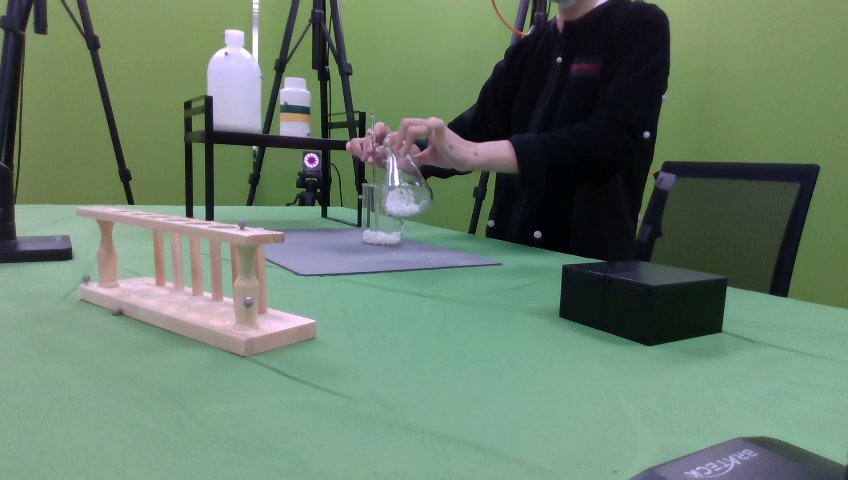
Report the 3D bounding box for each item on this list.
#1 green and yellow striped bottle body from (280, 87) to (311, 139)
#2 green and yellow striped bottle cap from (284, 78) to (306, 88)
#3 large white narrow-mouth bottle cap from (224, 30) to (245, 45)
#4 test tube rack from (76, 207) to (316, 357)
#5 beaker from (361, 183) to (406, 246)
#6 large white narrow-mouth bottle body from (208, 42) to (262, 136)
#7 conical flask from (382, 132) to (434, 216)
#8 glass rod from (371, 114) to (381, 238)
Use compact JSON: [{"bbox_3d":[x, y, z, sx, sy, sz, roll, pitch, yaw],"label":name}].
[{"bbox_3d":[-0.269,-0.274,1.266,0.063,0.119,0.063,3,7,0],"label":"green and yellow striped bottle body"},{"bbox_3d":[-0.268,-0.325,1.259,0.045,0.020,0.045,5,8,0],"label":"green and yellow striped bottle cap"},{"bbox_3d":[-0.365,-0.389,1.166,0.038,0.024,0.037,2,9,0],"label":"large white narrow-mouth bottle cap"},{"bbox_3d":[-0.196,0.023,0.500,0.241,0.085,0.067,8,9,36],"label":"test tube rack"},{"bbox_3d":[-0.067,-0.042,0.993,0.074,0.100,0.084,1,8,-8],"label":"beaker"},{"bbox_3d":[-0.368,-0.304,1.181,0.102,0.194,0.101,2,9,0],"label":"large white narrow-mouth bottle body"},{"bbox_3d":[-0.032,-0.101,0.880,0.075,0.121,0.075,-10,-31,-6],"label":"conical flask"},{"bbox_3d":[-0.079,-0.103,0.974,0.008,0.199,0.008,-3,1,0],"label":"glass rod"}]
